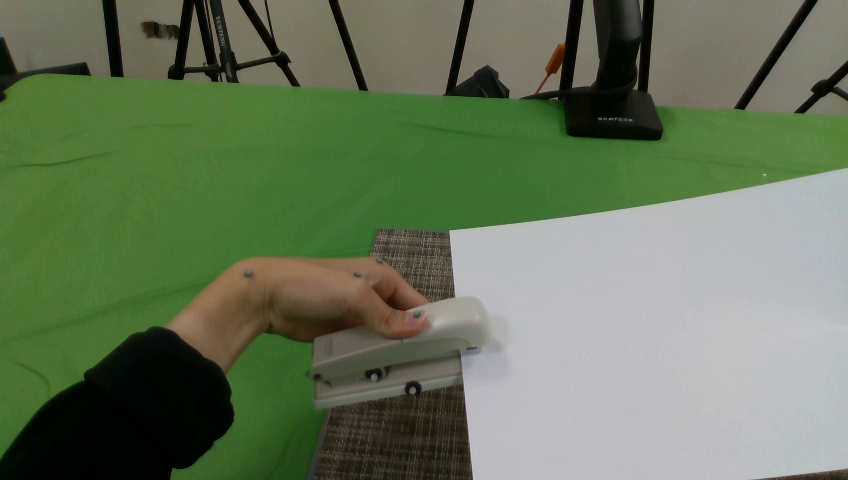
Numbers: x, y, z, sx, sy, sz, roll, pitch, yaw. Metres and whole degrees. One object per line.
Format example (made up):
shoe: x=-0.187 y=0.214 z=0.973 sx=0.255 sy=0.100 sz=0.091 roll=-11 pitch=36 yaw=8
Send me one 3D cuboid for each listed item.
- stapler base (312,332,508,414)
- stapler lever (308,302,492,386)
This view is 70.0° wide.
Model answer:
stapler base: x=-0.012 y=0.080 z=0.395 sx=0.130 sy=0.025 sz=0.041 roll=-12 pitch=36 yaw=2
stapler lever: x=-0.016 y=0.065 z=0.382 sx=0.118 sy=0.040 sz=0.026 roll=-7 pitch=36 yaw=-2
